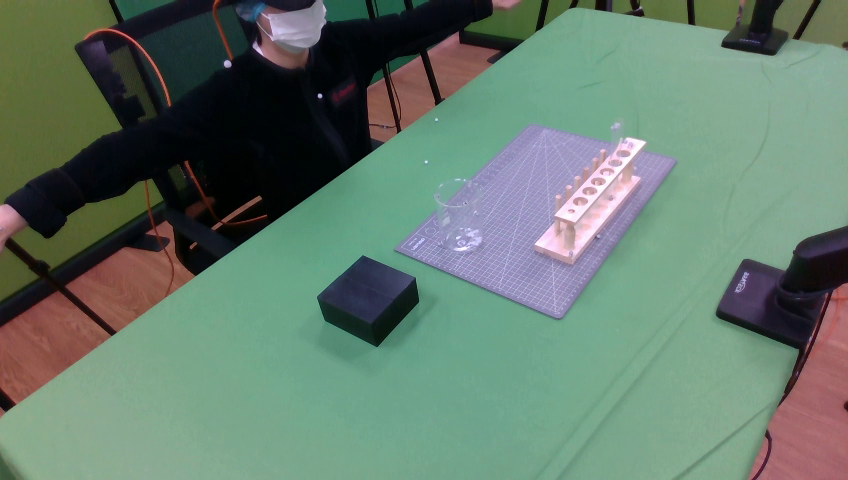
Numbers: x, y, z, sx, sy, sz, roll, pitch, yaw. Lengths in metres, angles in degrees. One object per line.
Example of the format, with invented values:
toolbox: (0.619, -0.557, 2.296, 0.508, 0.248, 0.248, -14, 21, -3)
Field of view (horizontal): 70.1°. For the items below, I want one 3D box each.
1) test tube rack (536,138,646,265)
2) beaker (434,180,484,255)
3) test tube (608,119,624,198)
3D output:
test tube rack: (0.268, -0.071, 0.964, 0.066, 0.085, 0.243, 23, 49, 32)
beaker: (0.058, -0.035, 0.944, 0.073, 0.101, 0.084, 16, 45, 26)
test tube: (0.300, -0.124, 0.945, 0.017, 0.151, 0.017, -6, 44, 7)
